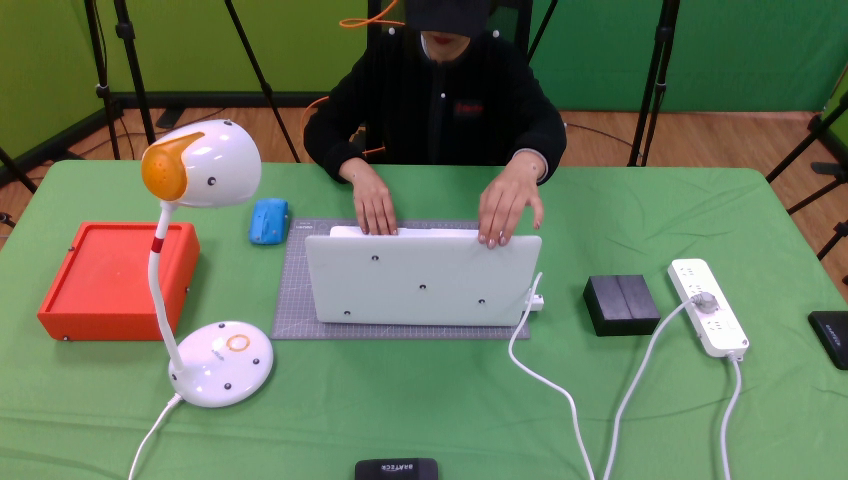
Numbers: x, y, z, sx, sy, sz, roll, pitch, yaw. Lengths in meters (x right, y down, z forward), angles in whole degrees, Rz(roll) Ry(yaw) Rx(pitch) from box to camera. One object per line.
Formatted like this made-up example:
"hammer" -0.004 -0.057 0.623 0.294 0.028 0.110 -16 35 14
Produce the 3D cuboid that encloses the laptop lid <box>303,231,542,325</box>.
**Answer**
"laptop lid" -0.004 0.069 0.964 0.357 0.243 0.013 2 49 -4

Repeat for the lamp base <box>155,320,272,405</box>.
"lamp base" -0.330 0.149 0.918 0.160 0.181 0.179 26 52 20

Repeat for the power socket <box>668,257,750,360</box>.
"power socket" 0.517 0.117 1.110 0.072 0.033 0.225 -3 47 -4

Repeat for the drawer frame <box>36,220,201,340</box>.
"drawer frame" -0.518 0.065 1.055 0.202 0.083 0.212 0 47 -5

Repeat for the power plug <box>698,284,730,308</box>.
"power plug" 0.510 0.096 1.059 0.052 0.073 0.035 -22 61 10

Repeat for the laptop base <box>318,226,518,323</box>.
"laptop base" -0.010 0.063 1.137 0.354 0.023 0.234 1 42 -3

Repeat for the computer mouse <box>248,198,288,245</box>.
"computer mouse" -0.309 -0.041 1.205 0.063 0.041 0.116 3 50 -3

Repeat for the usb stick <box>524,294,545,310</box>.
"usb stick" 0.184 0.111 1.086 0.059 0.027 0.021 -1 49 -2

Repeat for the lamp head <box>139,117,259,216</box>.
"lamp head" -0.281 -0.086 0.734 0.112 0.113 0.123 21 25 16

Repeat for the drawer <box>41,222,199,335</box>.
"drawer" -0.519 0.064 1.057 0.195 0.073 0.210 1 46 -4
